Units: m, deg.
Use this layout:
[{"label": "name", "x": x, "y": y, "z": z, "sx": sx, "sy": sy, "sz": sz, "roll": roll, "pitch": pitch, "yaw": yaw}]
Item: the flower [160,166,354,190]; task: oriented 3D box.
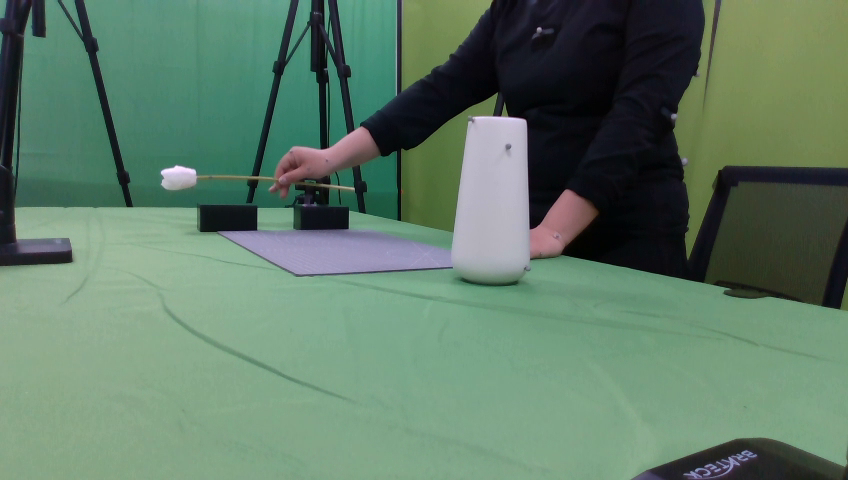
[{"label": "flower", "x": -0.304, "y": -0.123, "z": 1.149, "sx": 0.363, "sy": 0.038, "sz": 0.044, "roll": -6, "pitch": -30, "yaw": -27}]

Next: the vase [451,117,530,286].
[{"label": "vase", "x": 0.083, "y": -0.047, "z": 0.737, "sx": 0.098, "sy": 0.200, "sz": 0.098, "roll": 1, "pitch": 6, "yaw": 0}]
